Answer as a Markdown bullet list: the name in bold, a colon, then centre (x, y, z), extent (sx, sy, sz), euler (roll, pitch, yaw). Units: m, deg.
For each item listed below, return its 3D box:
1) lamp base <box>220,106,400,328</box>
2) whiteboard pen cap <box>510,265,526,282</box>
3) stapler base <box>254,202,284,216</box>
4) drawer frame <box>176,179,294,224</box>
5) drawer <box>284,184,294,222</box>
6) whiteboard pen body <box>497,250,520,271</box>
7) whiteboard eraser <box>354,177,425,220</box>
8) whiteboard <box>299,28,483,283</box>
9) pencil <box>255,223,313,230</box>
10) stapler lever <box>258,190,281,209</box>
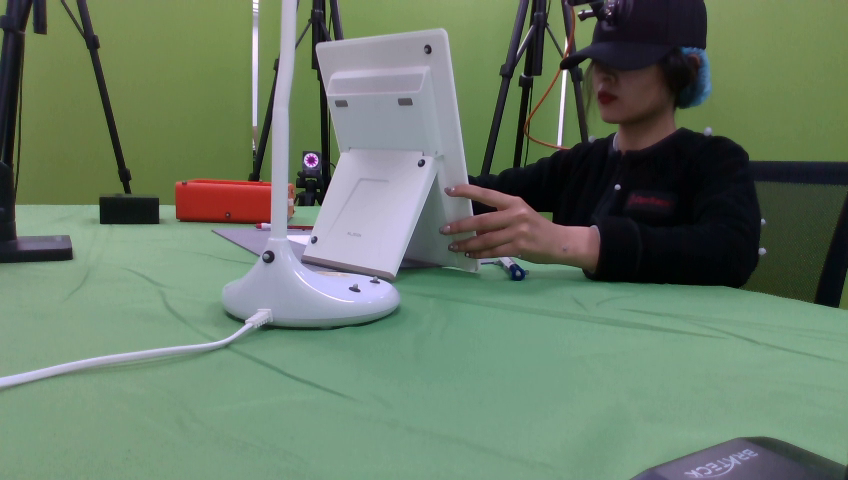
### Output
- **lamp base**: centre (-0.101, -0.023, 0.531), extent (0.160, 0.180, 0.179), euler (4, 10, 10)
- **whiteboard pen cap**: centre (0.116, 0.040, 0.751), extent (0.018, 0.018, 0.033), euler (2, 10, 0)
- **stapler base**: centre (-0.334, -0.069, 1.307), extent (0.041, 0.024, 0.130), euler (6, 6, -2)
- **drawer frame**: centre (-0.395, -0.086, 1.299), extent (0.214, 0.082, 0.201), euler (1, 8, -9)
- **drawer**: centre (-0.390, -0.084, 1.301), extent (0.212, 0.073, 0.194), euler (1, 8, -8)
- **whiteboard pen body**: centre (0.116, 0.032, 0.810), extent (0.017, 0.017, 0.140), euler (2, 8, -3)
- **whiteboard eraser**: centre (-0.054, -0.061, 0.900), extent (0.112, 0.056, 0.042), euler (10, 41, 39)
- **whiteboard**: centre (-0.075, -0.082, 0.741), extent (0.216, 0.305, 0.144), euler (9, 30, 39)
- **pencil**: centre (-0.216, -0.023, 1.134), extent (0.195, 0.012, 0.012), euler (1, 7, -21)
- **stapler lever**: centre (-0.333, -0.091, 1.305), extent (0.027, 0.040, 0.118), euler (6, 9, -2)
